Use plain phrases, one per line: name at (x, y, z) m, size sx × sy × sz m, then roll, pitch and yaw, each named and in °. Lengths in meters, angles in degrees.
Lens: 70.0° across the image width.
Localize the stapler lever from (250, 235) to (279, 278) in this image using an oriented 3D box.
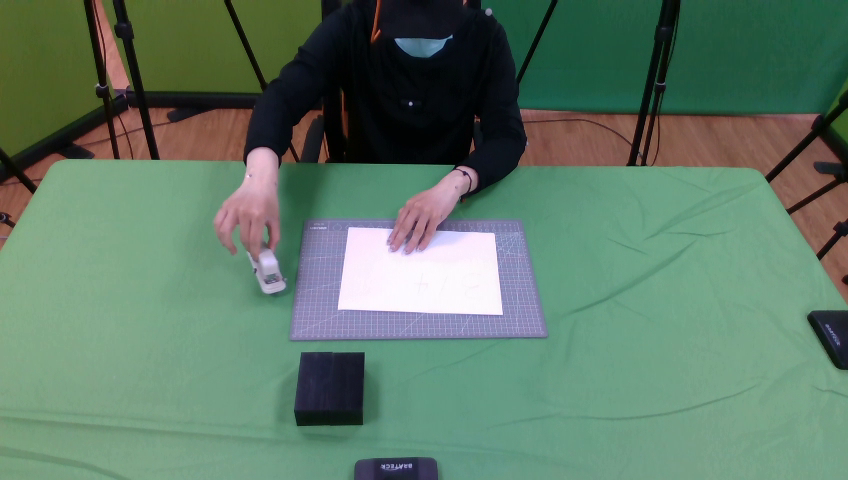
stapler lever at (-0.290, 0.023, 1.096) m, size 0.027 × 0.040 × 0.117 m, roll -14°, pitch 42°, yaw -23°

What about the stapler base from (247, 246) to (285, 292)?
stapler base at (-0.291, 0.044, 1.111) m, size 0.041 × 0.024 × 0.129 m, roll -13°, pitch 42°, yaw -24°
